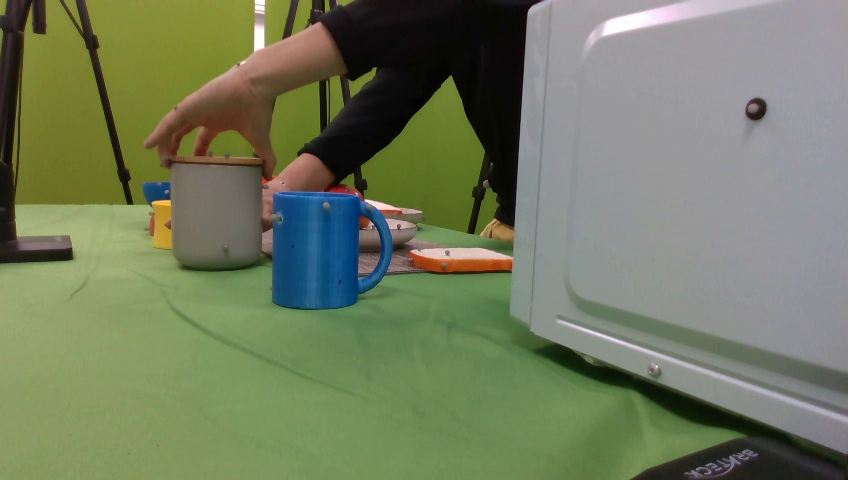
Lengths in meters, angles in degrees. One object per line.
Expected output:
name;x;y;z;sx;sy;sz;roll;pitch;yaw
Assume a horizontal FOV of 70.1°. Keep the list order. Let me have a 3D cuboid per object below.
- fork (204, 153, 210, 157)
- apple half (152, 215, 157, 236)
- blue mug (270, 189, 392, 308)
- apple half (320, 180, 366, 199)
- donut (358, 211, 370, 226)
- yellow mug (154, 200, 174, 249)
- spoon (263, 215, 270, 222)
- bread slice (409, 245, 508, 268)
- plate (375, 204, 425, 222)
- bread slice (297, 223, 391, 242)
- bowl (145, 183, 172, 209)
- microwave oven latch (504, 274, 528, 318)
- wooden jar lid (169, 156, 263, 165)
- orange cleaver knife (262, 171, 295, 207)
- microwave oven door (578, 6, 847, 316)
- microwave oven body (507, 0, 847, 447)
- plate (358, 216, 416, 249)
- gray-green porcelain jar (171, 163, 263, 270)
fork;-0.480;-0.135;1.411;0.028;0.018;0.207;1;-34;-1
apple half;-0.415;-0.034;1.017;0.081;0.053;0.074;1;10;-8
blue mug;-0.089;0.005;0.588;0.117;0.106;0.082;0;7;-10
apple half;-0.130;-0.079;0.954;0.081;0.033;0.081;1;16;0
donut;-0.133;-0.042;0.959;0.099;0.048;0.099;1;7;0
yellow mug;-0.337;-0.022;0.898;0.130;0.064;0.100;8;9;35
spoon;-0.200;-0.032;0.962;0.041;0.021;0.195;4;-1;32
bread slice;0.048;0.021;0.816;0.132;0.019;0.104;0;7;-24
plate;-0.102;-0.053;1.299;0.209;0.038;0.209;2;8;0
bread slice;-0.121;-0.013;0.970;0.106;0.018;0.135;9;10;41
bowl;-0.459;-0.068;1.175;0.151;0.077;0.151;3;7;0
microwave oven latch;0.100;0.041;0.470;0.079;0.029;0.030;-1;7;-27
wooden jar lid;-0.253;-0.092;0.742;0.108;0.020;0.108;2;9;0
orange cleaver knife;-0.283;-0.086;1.343;0.212;0.077;0.012;24;-16;-41
microwave oven door;0.294;-0.067;0.570;0.358;0.243;0.039;-3;9;-31
microwave oven body;0.331;-0.042;0.425;0.444;0.260;0.324;-2;8;-31
plate;-0.116;-0.014;0.966;0.208;0.039;0.207;2;7;0
gray-green porcelain jar;-0.255;-0.031;0.750;0.106;0.126;0.106;1;7;0
